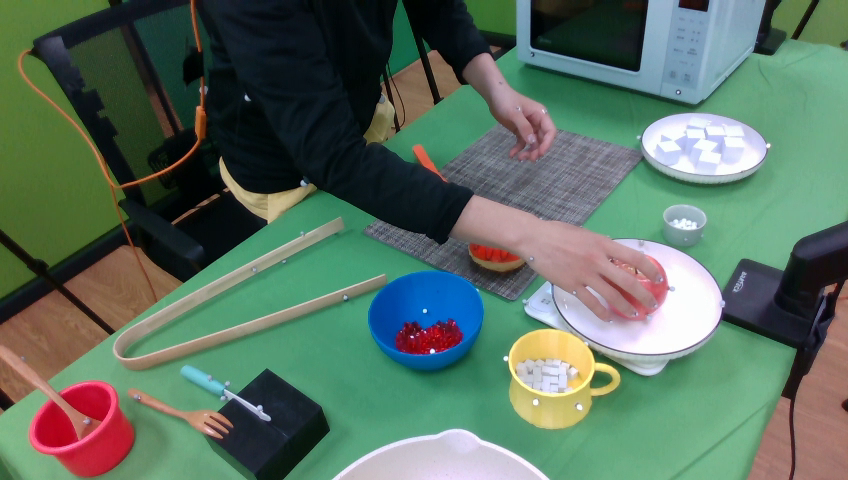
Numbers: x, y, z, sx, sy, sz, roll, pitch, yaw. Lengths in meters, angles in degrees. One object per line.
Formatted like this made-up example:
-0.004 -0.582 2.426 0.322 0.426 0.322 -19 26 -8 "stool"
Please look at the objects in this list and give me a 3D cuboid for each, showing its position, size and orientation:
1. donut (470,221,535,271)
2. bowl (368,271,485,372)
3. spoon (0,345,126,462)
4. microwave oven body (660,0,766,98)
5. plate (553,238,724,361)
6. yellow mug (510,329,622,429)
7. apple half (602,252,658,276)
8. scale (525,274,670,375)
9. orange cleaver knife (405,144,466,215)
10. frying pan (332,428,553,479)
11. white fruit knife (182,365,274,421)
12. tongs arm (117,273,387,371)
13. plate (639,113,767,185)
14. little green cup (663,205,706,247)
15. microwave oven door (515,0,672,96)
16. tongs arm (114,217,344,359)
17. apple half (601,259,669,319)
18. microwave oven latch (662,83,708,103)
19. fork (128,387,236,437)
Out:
0.119 0.008 0.923 0.099 0.048 0.098 -4 39 4 "donut"
0.007 0.119 0.791 0.151 0.077 0.150 -5 39 4 "bowl"
-0.434 0.191 0.720 0.194 0.021 0.042 47 53 -6 "spoon"
0.472 -0.513 1.317 0.438 0.261 0.327 26 51 34 "microwave oven body"
0.273 0.078 0.783 0.209 0.038 0.208 -4 41 4 "plate"
0.169 0.165 0.721 0.130 0.064 0.099 0 40 8 "yellow mug"
0.263 0.042 0.784 0.081 0.081 0.032 -8 44 -1 "apple half"
0.254 0.092 0.821 0.199 0.032 0.149 28 51 35 "scale"
0.005 -0.113 1.103 0.077 0.012 0.209 -23 45 -10 "orange cleaver knife"
-0.089 0.306 0.564 0.487 0.103 0.306 10 41 7 "frying pan"
-0.245 0.188 0.747 0.205 0.027 0.016 9 40 40 "white fruit knife"
-0.237 0.115 0.870 0.389 0.028 0.028 -18 49 -12 "tongs arm"
0.489 -0.157 1.074 0.207 0.039 0.206 -4 40 4 "plate"
0.396 -0.020 0.926 0.061 0.039 0.061 -4 40 4 "little green cup"
0.343 -0.454 1.259 0.353 0.245 0.039 26 51 33 "microwave oven door"
-0.280 0.068 0.927 0.386 0.026 0.050 -29 49 -23 "tongs arm"
0.267 0.068 0.756 0.081 0.075 0.053 -6 44 -3 "apple half"
0.518 -0.296 1.204 0.078 0.029 0.030 28 52 35 "microwave oven latch"
-0.305 0.207 0.744 0.206 0.019 0.028 3 40 36 "fork"
